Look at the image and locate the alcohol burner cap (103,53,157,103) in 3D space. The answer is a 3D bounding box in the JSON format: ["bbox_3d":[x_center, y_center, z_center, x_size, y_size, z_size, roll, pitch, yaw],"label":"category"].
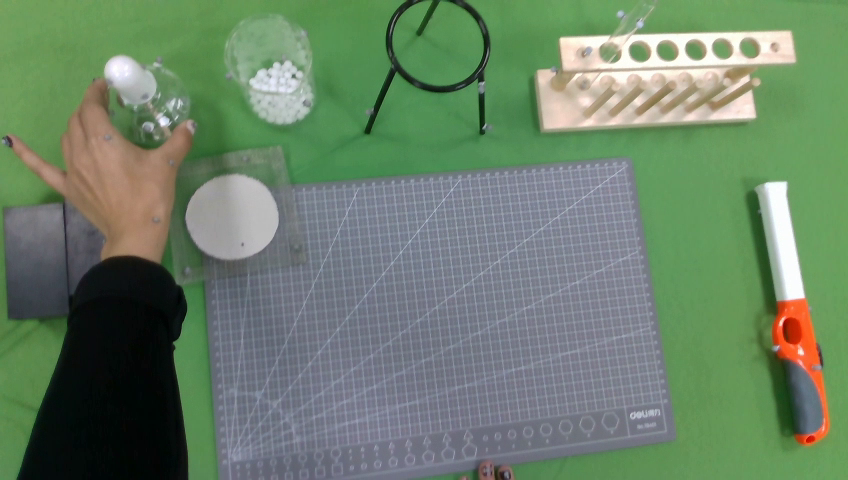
[{"bbox_3d":[-0.248,-0.138,0.507,0.034,0.048,0.034,0,85,-5],"label":"alcohol burner cap"}]

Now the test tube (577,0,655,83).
[{"bbox_3d":[0.177,-0.188,0.573,0.017,0.150,0.017,1,78,-6],"label":"test tube"}]

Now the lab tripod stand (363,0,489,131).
[{"bbox_3d":[0.002,-0.165,0.574,0.148,0.131,0.148,1,81,-5],"label":"lab tripod stand"}]

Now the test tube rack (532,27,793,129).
[{"bbox_3d":[0.244,-0.167,0.628,0.243,0.085,0.066,-4,83,-7],"label":"test tube rack"}]

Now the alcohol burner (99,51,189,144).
[{"bbox_3d":[-0.254,-0.132,0.542,0.078,0.119,0.077,2,77,-8],"label":"alcohol burner"}]

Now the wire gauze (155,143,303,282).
[{"bbox_3d":[-0.191,-0.028,0.592,0.125,0.011,0.121,-11,83,-7],"label":"wire gauze"}]

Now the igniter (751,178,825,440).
[{"bbox_3d":[0.387,0.070,0.645,0.057,0.025,0.275,-4,83,-18],"label":"igniter"}]

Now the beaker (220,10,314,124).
[{"bbox_3d":[-0.140,-0.155,0.572,0.074,0.100,0.084,-36,89,-10],"label":"beaker"}]
